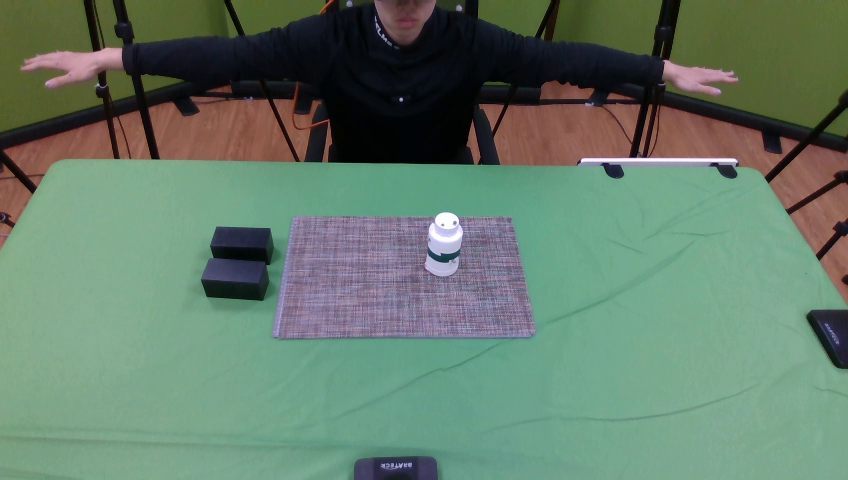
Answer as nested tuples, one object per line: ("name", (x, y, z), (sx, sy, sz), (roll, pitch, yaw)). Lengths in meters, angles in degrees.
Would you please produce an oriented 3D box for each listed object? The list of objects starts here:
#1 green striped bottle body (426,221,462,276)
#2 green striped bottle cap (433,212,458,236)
("green striped bottle body", (0.037, 0.007, 1.122), (0.063, 0.120, 0.063), (2, 46, -2))
("green striped bottle cap", (0.039, -0.030, 1.085), (0.044, 0.020, 0.044), (3, 46, -3))
